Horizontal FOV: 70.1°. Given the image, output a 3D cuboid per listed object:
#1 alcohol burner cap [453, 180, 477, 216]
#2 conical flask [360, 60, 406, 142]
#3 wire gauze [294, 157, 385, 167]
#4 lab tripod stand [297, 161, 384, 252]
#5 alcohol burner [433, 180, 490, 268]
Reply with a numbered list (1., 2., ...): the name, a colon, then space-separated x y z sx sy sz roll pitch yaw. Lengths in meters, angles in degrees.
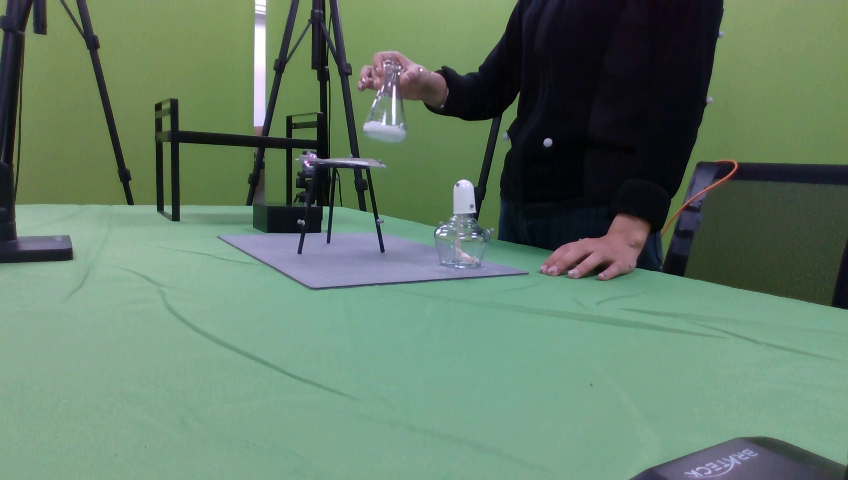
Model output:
1. alcohol burner cap: 0.054 -0.057 0.811 0.034 0.048 0.034 -3 6 1
2. conical flask: -0.058 -0.224 0.978 0.075 0.121 0.075 8 -3 1
3. wire gauze: -0.128 -0.118 0.901 0.125 0.011 0.121 0 8 -14
4. lab tripod stand: -0.130 -0.051 0.903 0.148 0.131 0.148 4 9 0
5. alcohol burner: 0.052 -0.021 0.815 0.078 0.119 0.078 4 7 0
